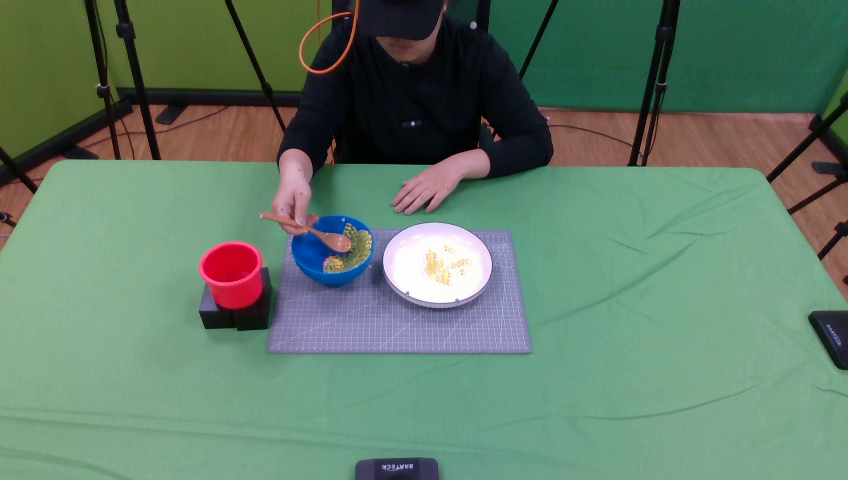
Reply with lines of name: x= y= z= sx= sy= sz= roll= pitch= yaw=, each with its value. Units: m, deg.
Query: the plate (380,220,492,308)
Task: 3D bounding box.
plate: x=0.022 y=0.048 z=1.138 sx=0.208 sy=0.039 sz=0.206 roll=2 pitch=46 yaw=-2

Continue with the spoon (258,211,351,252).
spoon: x=-0.207 y=-0.019 z=1.071 sx=0.195 sy=0.021 sz=0.041 roll=26 pitch=43 yaw=-43

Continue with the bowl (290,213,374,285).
bowl: x=-0.166 y=0.030 z=1.113 sx=0.151 sy=0.077 sz=0.150 roll=2 pitch=46 yaw=-2
